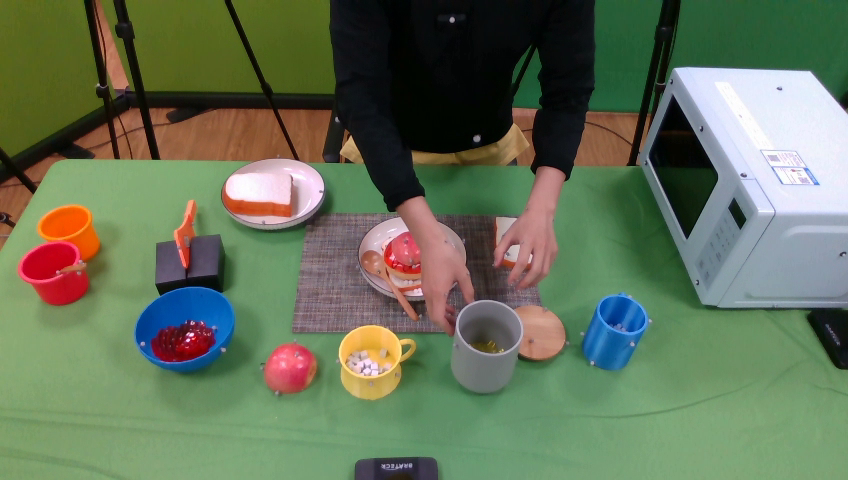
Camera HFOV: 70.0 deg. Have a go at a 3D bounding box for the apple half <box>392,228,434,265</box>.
[{"bbox_3d":[-0.021,0.004,1.084,0.081,0.033,0.081,7,50,-8],"label":"apple half"}]

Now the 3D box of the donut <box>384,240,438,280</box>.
[{"bbox_3d":[-0.025,0.030,1.109,0.099,0.048,0.098,2,46,-2],"label":"donut"}]

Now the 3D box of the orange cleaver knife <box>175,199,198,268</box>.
[{"bbox_3d":[-0.438,-0.017,1.138,0.012,0.077,0.210,-13,27,-7],"label":"orange cleaver knife"}]

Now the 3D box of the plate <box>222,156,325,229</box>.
[{"bbox_3d":[-0.308,-0.095,1.251,0.209,0.038,0.208,2,47,-2],"label":"plate"}]

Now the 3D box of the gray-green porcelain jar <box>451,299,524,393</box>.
[{"bbox_3d":[0.097,0.174,0.964,0.106,0.127,0.105,2,47,-2],"label":"gray-green porcelain jar"}]

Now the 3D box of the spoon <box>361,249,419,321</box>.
[{"bbox_3d":[-0.061,0.078,1.077,0.041,0.022,0.192,-22,43,-20],"label":"spoon"}]

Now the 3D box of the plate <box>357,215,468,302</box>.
[{"bbox_3d":[-0.022,0.037,1.141,0.208,0.039,0.206,2,46,-2],"label":"plate"}]

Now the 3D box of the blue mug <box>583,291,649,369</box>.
[{"bbox_3d":[0.324,0.142,1.023,0.082,0.106,0.116,15,47,11],"label":"blue mug"}]

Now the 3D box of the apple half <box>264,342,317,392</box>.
[{"bbox_3d":[-0.214,0.198,0.970,0.074,0.053,0.080,19,48,10],"label":"apple half"}]

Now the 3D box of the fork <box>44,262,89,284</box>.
[{"bbox_3d":[-0.599,0.054,1.014,0.207,0.019,0.028,-15,29,45],"label":"fork"}]

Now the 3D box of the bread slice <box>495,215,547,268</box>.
[{"bbox_3d":[0.195,0.001,1.204,0.105,0.019,0.131,6,46,2],"label":"bread slice"}]

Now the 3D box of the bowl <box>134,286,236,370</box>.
[{"bbox_3d":[-0.377,0.155,0.981,0.151,0.077,0.150,2,46,-2],"label":"bowl"}]

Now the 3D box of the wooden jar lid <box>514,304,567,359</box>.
[{"bbox_3d":[0.192,0.161,1.051,0.108,0.021,0.107,3,50,-3],"label":"wooden jar lid"}]

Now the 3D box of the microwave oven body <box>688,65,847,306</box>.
[{"bbox_3d":[0.669,-0.111,1.176,0.326,0.261,0.439,0,46,-3],"label":"microwave oven body"}]

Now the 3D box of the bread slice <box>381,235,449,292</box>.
[{"bbox_3d":[-0.026,0.039,1.140,0.107,0.018,0.133,-12,49,-16],"label":"bread slice"}]

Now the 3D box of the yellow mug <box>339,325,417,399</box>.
[{"bbox_3d":[-0.072,0.190,0.978,0.131,0.064,0.099,-17,50,-20],"label":"yellow mug"}]

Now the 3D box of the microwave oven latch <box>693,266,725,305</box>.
[{"bbox_3d":[0.523,0.082,1.115,0.030,0.029,0.078,3,46,0],"label":"microwave oven latch"}]

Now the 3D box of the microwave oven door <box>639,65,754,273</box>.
[{"bbox_3d":[0.522,-0.147,1.193,0.039,0.245,0.353,1,47,-3],"label":"microwave oven door"}]
